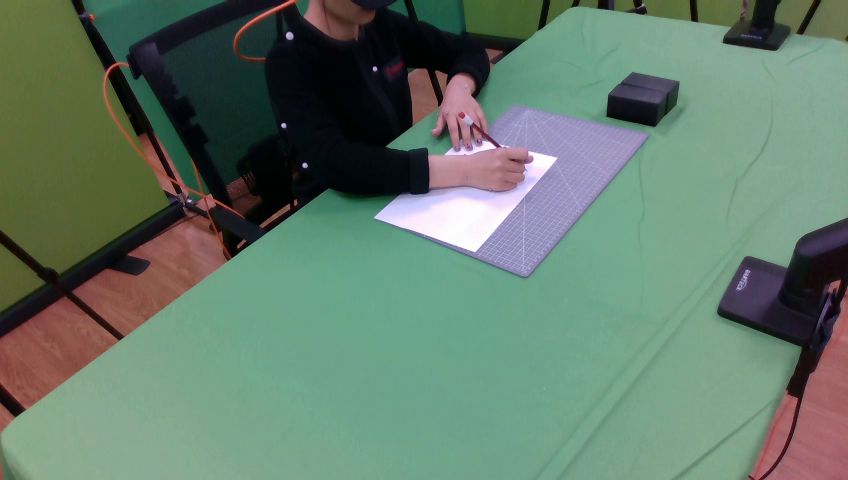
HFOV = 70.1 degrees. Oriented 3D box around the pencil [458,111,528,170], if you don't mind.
[{"bbox_3d":[0.124,-0.168,1.045,0.012,0.196,0.012,-27,49,35],"label":"pencil"}]
